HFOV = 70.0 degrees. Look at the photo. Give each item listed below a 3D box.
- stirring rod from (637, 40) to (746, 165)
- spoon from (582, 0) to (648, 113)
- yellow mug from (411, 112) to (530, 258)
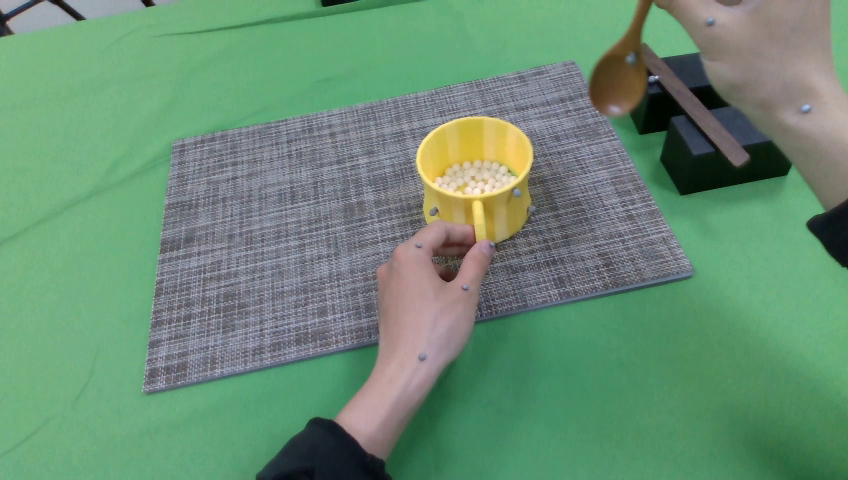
[{"bbox_3d":[0.230,-0.128,0.542,0.014,0.006,0.174,-39,49,22],"label":"stirring rod"},{"bbox_3d":[0.137,-0.150,0.382,0.041,0.195,0.021,24,67,13],"label":"spoon"},{"bbox_3d":[0.043,-0.043,0.524,0.100,0.064,0.129,-6,53,4],"label":"yellow mug"}]
